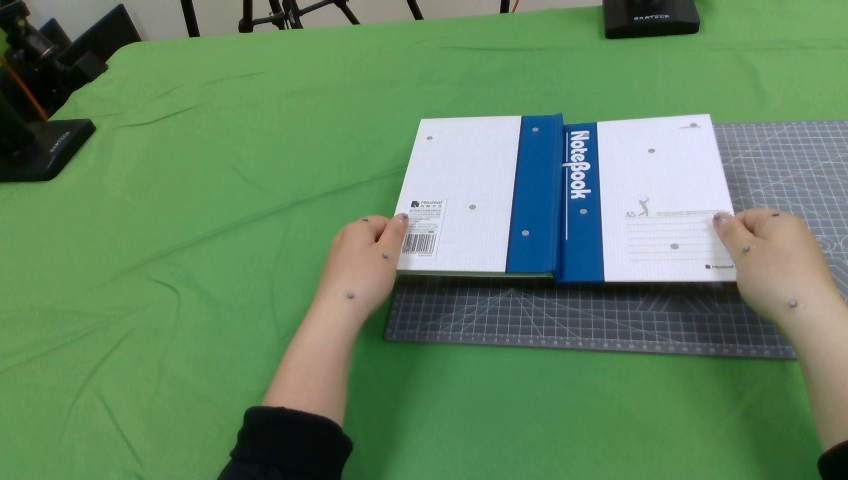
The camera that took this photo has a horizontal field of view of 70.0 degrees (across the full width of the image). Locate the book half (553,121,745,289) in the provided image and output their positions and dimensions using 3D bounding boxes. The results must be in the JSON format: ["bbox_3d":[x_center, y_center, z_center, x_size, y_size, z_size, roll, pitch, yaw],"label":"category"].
[{"bbox_3d":[0.189,-0.038,0.538,0.143,0.007,0.208,-1,46,14],"label":"book half"}]

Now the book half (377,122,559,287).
[{"bbox_3d":[0.049,-0.042,0.565,0.148,0.016,0.208,1,47,12],"label":"book half"}]
